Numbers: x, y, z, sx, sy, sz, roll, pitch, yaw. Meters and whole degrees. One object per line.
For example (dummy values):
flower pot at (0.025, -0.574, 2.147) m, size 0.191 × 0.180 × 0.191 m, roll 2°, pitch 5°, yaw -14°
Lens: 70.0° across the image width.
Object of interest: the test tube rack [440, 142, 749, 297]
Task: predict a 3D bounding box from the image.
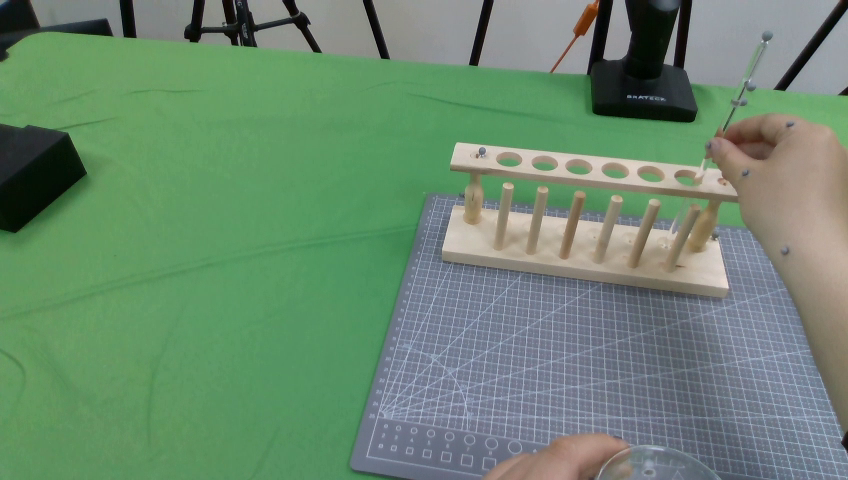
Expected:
test tube rack at (0.139, -0.019, 0.523) m, size 0.242 × 0.086 × 0.066 m, roll 7°, pitch 44°, yaw 8°

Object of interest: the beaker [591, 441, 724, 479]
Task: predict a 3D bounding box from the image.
beaker at (0.104, 0.162, 0.309) m, size 0.084 × 0.101 × 0.073 m, roll -1°, pitch 43°, yaw -9°

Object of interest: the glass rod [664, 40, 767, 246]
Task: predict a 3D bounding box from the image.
glass rod at (0.222, -0.063, 0.473) m, size 0.008 × 0.201 × 0.008 m, roll 1°, pitch 47°, yaw -1°
